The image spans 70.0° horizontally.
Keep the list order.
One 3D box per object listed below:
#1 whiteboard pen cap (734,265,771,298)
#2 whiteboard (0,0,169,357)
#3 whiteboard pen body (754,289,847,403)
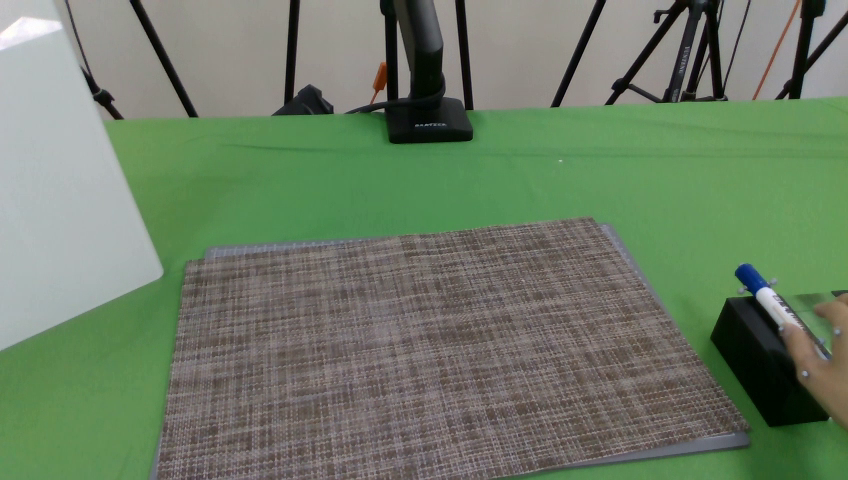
[{"bbox_3d":[0.292,0.038,0.538,0.018,0.018,0.033,-4,36,-7],"label":"whiteboard pen cap"},{"bbox_3d":[-0.408,-0.066,0.537,0.217,0.307,0.142,-29,28,-33],"label":"whiteboard"},{"bbox_3d":[0.301,0.075,0.491,0.017,0.017,0.139,-5,36,-8],"label":"whiteboard pen body"}]
